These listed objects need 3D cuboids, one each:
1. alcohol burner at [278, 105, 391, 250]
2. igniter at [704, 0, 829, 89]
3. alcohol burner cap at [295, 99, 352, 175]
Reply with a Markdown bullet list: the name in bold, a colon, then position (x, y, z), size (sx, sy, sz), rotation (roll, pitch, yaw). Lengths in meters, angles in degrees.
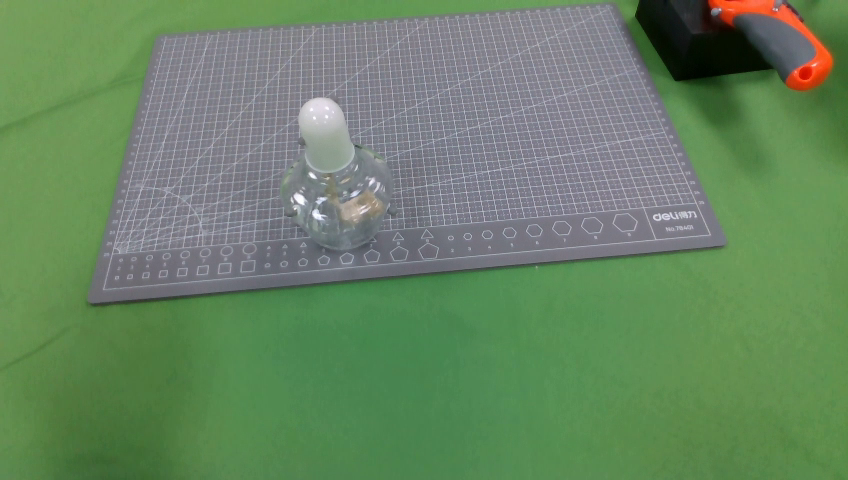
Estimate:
- **alcohol burner**: position (-0.062, -0.046, 0.405), size (0.078, 0.120, 0.077), rotation (-1, 56, 2)
- **igniter**: position (0.260, -0.221, 0.522), size (0.057, 0.025, 0.273), rotation (-11, 53, -4)
- **alcohol burner cap**: position (-0.064, -0.066, 0.376), size (0.034, 0.048, 0.033), rotation (0, 58, 0)
